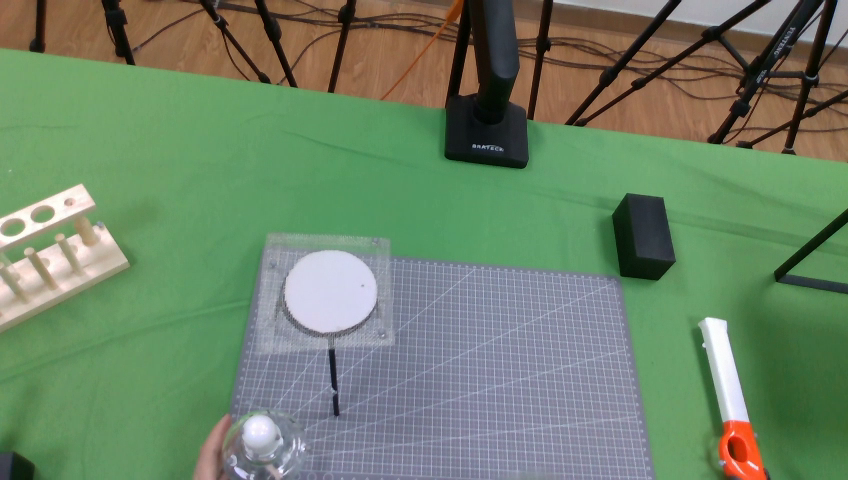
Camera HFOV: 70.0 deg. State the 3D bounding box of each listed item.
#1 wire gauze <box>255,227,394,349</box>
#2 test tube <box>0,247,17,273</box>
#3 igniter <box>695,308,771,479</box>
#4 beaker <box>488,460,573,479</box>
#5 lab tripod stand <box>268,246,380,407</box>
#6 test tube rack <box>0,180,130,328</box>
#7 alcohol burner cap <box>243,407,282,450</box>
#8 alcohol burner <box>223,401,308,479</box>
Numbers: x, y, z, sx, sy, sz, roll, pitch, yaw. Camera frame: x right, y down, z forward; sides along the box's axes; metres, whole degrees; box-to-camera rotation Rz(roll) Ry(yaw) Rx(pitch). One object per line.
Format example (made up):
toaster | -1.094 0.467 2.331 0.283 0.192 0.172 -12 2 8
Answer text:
wire gauze | -0.091 0.041 0.565 0.122 0.011 0.124 1 59 -9
test tube | -0.436 -0.011 0.596 0.017 0.151 0.017 5 52 -6
igniter | 0.347 0.204 0.678 0.057 0.025 0.274 12 57 -14
beaker | 0.075 0.229 0.500 0.083 0.101 0.074 36 56 11
lab tripod stand | -0.097 0.081 0.619 0.149 0.132 0.147 5 58 -8
test tube rack | -0.445 0.037 0.622 0.242 0.086 0.066 -32 68 -25
alcohol burner cap | -0.142 0.163 0.528 0.034 0.048 0.033 3 63 -6
alcohol burner | -0.147 0.182 0.559 0.078 0.120 0.077 5 56 -7
